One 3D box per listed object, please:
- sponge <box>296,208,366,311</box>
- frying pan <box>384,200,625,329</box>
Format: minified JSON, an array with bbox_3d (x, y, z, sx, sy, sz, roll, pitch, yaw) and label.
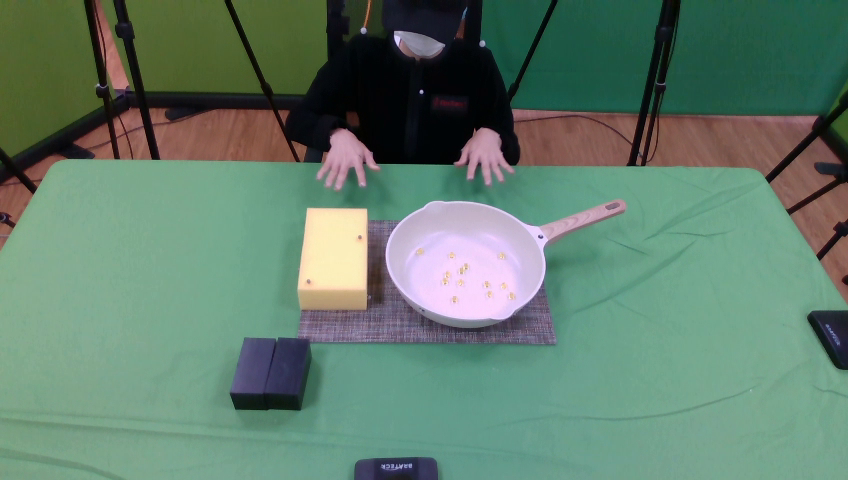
[{"bbox_3d":[-0.167,0.033,1.123,0.118,0.061,0.205,0,46,-5],"label":"sponge"},{"bbox_3d":[0.168,0.014,1.137,0.488,0.103,0.304,-20,51,-11],"label":"frying pan"}]
